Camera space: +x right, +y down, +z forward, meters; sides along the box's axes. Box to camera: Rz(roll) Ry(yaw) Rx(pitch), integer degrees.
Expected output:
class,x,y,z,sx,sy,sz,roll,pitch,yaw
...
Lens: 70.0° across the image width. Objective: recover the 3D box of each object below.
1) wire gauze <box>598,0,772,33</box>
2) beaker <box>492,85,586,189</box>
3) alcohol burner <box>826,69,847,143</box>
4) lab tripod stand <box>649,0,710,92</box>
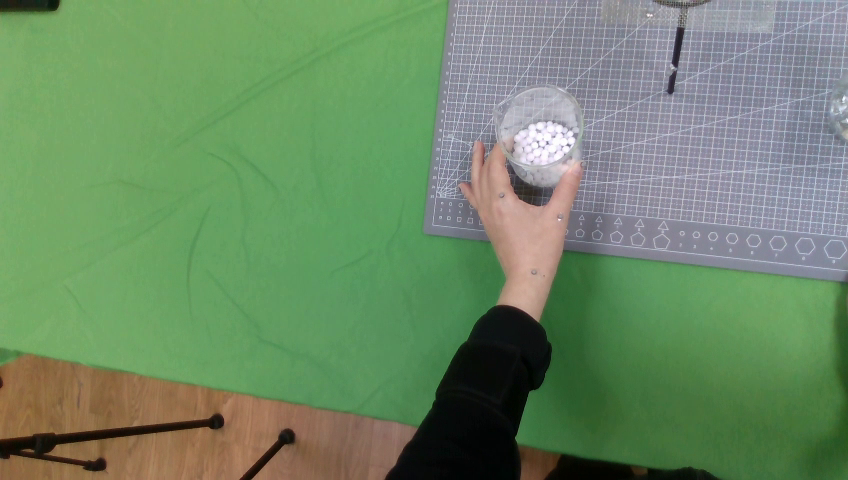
class,x,y,z,sx,sy,sz,roll,pitch,yaw
wire gauze,0.198,-0.218,0.453,0.124,0.011,0.121,6,92,15
beaker,0.107,-0.091,0.559,0.083,0.101,0.074,27,90,17
alcohol burner,0.374,-0.114,0.484,0.078,0.119,0.078,0,89,13
lab tripod stand,0.215,-0.215,0.518,0.148,0.132,0.148,0,89,13
